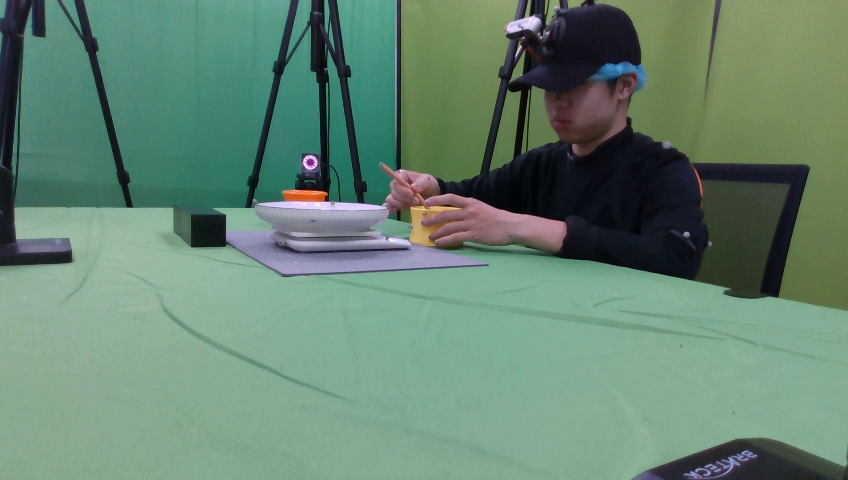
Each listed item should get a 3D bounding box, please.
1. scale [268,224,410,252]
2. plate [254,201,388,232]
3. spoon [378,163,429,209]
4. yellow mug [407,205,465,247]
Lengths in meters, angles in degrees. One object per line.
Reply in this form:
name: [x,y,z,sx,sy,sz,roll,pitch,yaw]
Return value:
scale: [-0.137,-0.006,0.979,0.202,0.031,0.148,-1,8,-30]
plate: [-0.161,-0.037,0.961,0.209,0.038,0.209,2,6,0]
spoon: [-0.012,-0.073,1.096,0.194,0.021,0.041,48,16,-2]
yellow mug: [0.026,-0.028,1.104,0.099,0.064,0.131,8,8,20]
